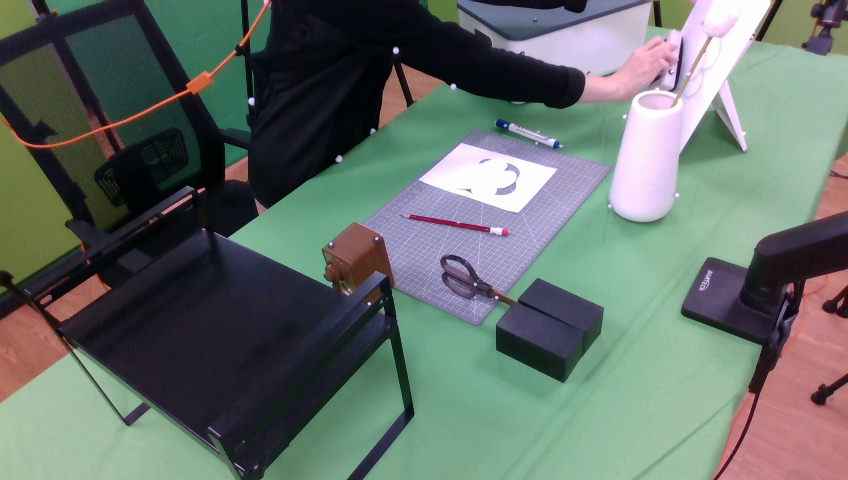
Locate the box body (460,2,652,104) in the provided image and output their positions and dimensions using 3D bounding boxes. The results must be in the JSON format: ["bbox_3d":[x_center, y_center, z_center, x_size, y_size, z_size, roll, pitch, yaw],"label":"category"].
[{"bbox_3d":[0.291,-0.465,1.371,0.365,0.161,0.252,-22,42,-16],"label":"box body"}]

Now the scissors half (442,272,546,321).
[{"bbox_3d":[0.094,0.081,0.838,0.173,0.040,0.013,19,45,39],"label":"scissors half"}]

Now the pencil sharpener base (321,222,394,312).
[{"bbox_3d":[-0.096,0.041,0.873,0.061,0.107,0.077,26,54,32],"label":"pencil sharpener base"}]

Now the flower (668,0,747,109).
[{"bbox_3d":[0.355,-0.187,0.879,0.038,0.362,0.044,31,48,14],"label":"flower"}]

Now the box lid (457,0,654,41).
[{"bbox_3d":[0.285,-0.522,1.323,0.373,0.015,0.261,-22,43,-16],"label":"box lid"}]

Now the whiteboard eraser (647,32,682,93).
[{"bbox_3d":[0.451,-0.325,1.130,0.042,0.055,0.112,13,80,-11],"label":"whiteboard eraser"}]

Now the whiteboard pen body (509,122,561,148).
[{"bbox_3d":[0.209,-0.212,1.196,0.139,0.017,0.017,31,53,33],"label":"whiteboard pen body"}]

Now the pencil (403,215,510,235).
[{"bbox_3d":[0.049,-0.027,1.008,0.193,0.012,0.012,10,43,22],"label":"pencil"}]

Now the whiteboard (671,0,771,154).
[{"bbox_3d":[0.543,-0.298,1.076,0.144,0.305,0.216,12,40,-7],"label":"whiteboard"}]

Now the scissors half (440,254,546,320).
[{"bbox_3d":[0.092,0.065,0.825,0.174,0.040,0.013,31,57,25],"label":"scissors half"}]

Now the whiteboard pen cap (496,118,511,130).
[{"bbox_3d":[0.164,-0.234,1.227,0.033,0.018,0.018,33,54,29],"label":"whiteboard pen cap"}]

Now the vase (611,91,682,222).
[{"bbox_3d":[0.348,-0.125,0.935,0.098,0.201,0.097,-3,40,3],"label":"vase"}]

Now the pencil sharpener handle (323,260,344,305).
[{"bbox_3d":[-0.131,0.062,0.839,0.035,0.068,0.031,29,55,28],"label":"pencil sharpener handle"}]
